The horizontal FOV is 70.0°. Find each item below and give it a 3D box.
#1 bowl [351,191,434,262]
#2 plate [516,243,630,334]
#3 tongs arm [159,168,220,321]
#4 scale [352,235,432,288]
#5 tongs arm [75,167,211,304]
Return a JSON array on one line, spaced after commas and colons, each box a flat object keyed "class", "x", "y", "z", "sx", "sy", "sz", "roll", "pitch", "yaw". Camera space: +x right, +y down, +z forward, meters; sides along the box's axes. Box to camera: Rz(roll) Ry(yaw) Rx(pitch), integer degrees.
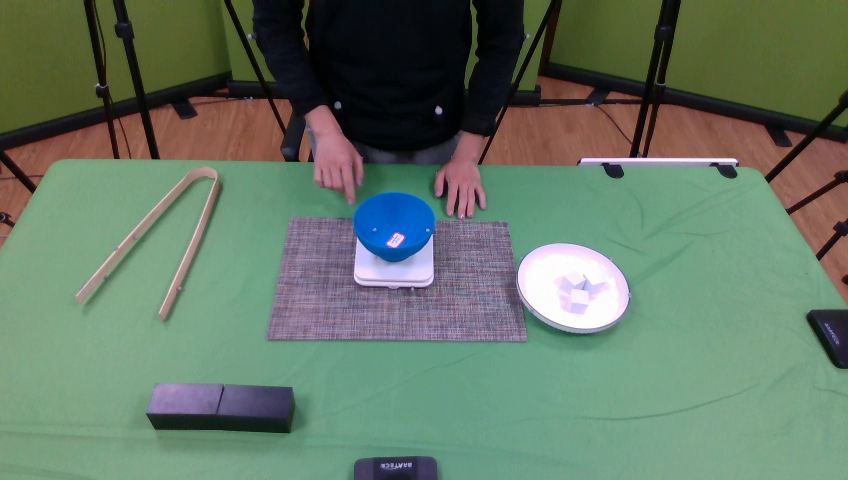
[{"class": "bowl", "x": -0.057, "y": -0.013, "z": 1.119, "sx": 0.151, "sy": 0.077, "sz": 0.150, "roll": 1, "pitch": 46, "yaw": -1}, {"class": "plate", "x": 0.272, "y": 0.092, "z": 1.120, "sx": 0.208, "sy": 0.039, "sz": 0.206, "roll": 2, "pitch": 46, "yaw": -2}, {"class": "tongs arm", "x": -0.446, "y": -0.006, "z": 1.164, "sx": 0.028, "sy": 0.028, "sz": 0.385, "roll": 1, "pitch": 46, "yaw": 0}, {"class": "scale", "x": -0.060, "y": 0.010, "z": 1.171, "sx": 0.149, "sy": 0.032, "sz": 0.199, "roll": 2, "pitch": 46, "yaw": -3}, {"class": "tongs arm", "x": -0.526, "y": -0.021, "z": 1.167, "sx": 0.051, "sy": 0.026, "sz": 0.383, "roll": 13, "pitch": 46, "yaw": 7}]
